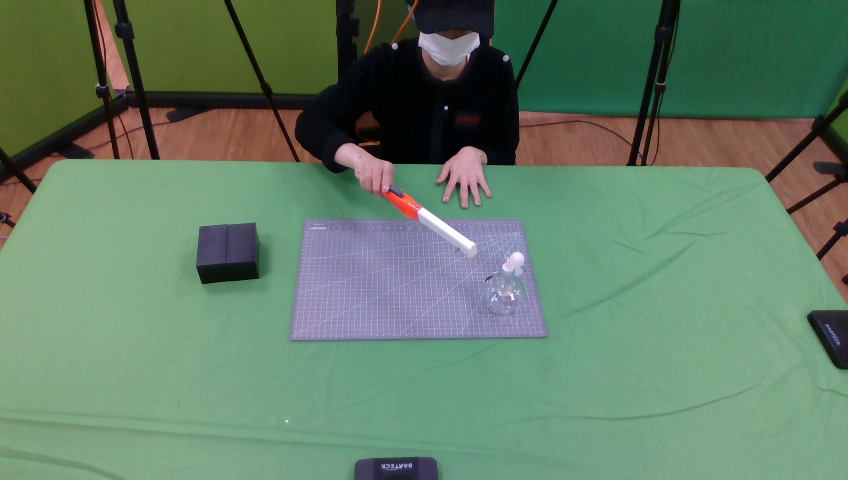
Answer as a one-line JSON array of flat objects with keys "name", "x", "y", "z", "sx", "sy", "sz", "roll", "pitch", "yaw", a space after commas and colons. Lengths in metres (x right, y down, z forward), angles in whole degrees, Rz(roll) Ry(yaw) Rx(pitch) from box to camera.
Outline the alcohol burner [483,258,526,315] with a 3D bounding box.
[{"name": "alcohol burner", "x": 0.143, "y": 0.076, "z": 1.067, "sx": 0.078, "sy": 0.120, "sz": 0.077, "roll": 1, "pitch": 45, "yaw": -1}]

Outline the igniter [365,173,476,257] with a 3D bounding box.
[{"name": "igniter", "x": -0.014, "y": -0.051, "z": 1.078, "sx": 0.025, "sy": 0.057, "sz": 0.275, "roll": -41, "pitch": 56, "yaw": -21}]

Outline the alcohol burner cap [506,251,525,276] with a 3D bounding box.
[{"name": "alcohol burner cap", "x": 0.175, "y": 0.043, "z": 1.151, "sx": 0.034, "sy": 0.048, "sz": 0.033, "roll": 2, "pitch": 46, "yaw": -1}]
